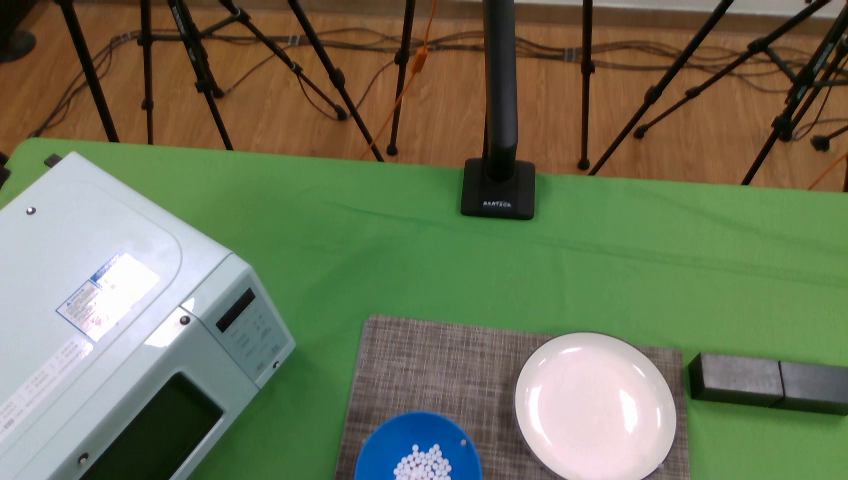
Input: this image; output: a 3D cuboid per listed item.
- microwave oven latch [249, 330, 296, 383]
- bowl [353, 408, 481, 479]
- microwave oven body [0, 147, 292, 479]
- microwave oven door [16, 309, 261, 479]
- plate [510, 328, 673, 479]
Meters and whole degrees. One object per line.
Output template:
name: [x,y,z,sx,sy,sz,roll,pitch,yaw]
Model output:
microwave oven latch: [-0.211,0.156,0.836,0.030,0.030,0.079,31,66,18]
bowl: [-0.006,0.290,0.741,0.151,0.077,0.150,-1,59,2]
microwave oven body: [-0.436,0.165,0.725,0.324,0.262,0.440,29,65,18]
microwave oven door: [-0.339,0.260,0.659,0.039,0.246,0.354,29,64,19]
plate: [0.217,0.219,0.799,0.207,0.039,0.205,-1,59,1]
